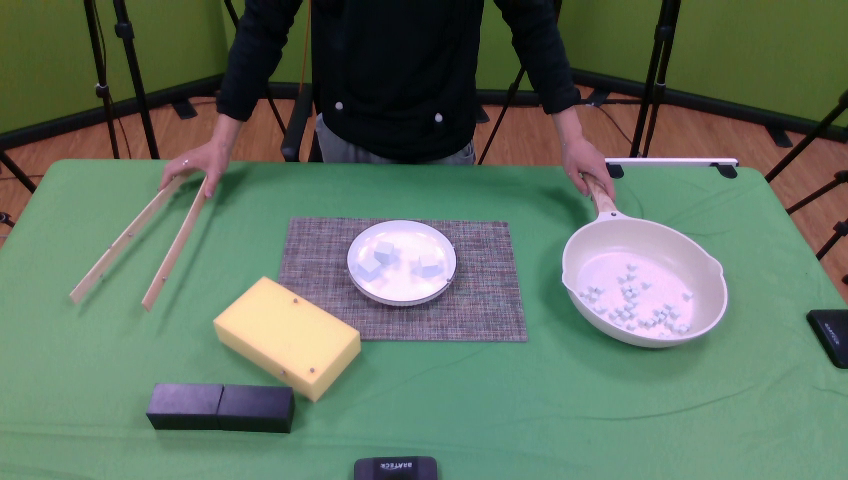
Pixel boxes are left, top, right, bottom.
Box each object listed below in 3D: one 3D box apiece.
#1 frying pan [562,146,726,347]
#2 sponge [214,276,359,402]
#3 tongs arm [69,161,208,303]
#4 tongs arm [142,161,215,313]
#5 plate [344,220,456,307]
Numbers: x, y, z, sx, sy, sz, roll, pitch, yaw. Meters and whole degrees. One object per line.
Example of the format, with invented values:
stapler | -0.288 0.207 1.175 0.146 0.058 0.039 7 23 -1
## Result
frying pan | 0.378 -0.005 1.175 0.307 0.103 0.484 -4 55 -10
sponge | -0.225 0.158 0.998 0.206 0.061 0.118 27 52 18
tongs arm | -0.530 -0.028 1.157 0.050 0.027 0.383 7 46 14
tongs arm | -0.456 -0.021 1.144 0.028 0.028 0.385 -4 45 8
plate | -0.045 0.047 1.133 0.208 0.039 0.206 3 46 -2
